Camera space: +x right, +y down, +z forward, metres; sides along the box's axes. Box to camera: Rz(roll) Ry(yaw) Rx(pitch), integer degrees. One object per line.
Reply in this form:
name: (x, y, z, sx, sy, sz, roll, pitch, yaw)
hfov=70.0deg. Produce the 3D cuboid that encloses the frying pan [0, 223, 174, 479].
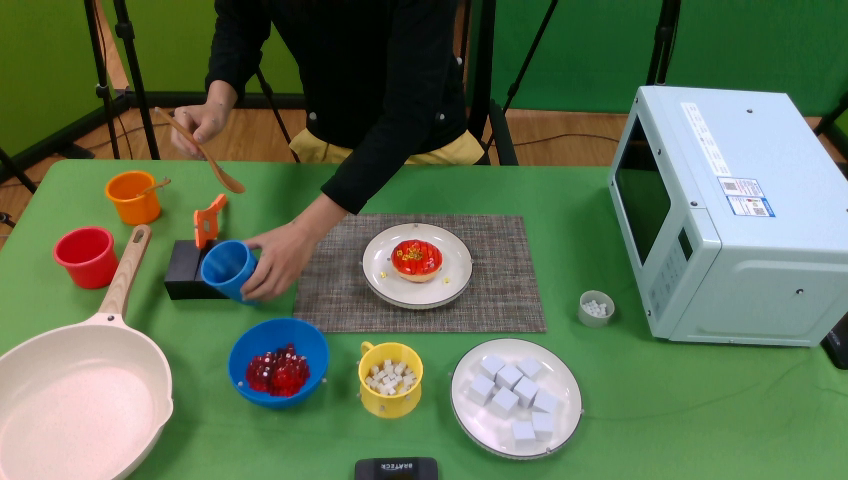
frying pan: (-0.505, 0.169, 0.941, 0.307, 0.103, 0.485, 5, 54, -1)

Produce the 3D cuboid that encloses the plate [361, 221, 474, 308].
plate: (-0.011, 0.049, 1.130, 0.209, 0.038, 0.208, 2, 46, -2)

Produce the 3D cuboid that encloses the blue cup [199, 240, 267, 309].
blue cup: (-0.308, 0.064, 1.002, 0.092, 0.101, 0.092, -7, 50, 9)

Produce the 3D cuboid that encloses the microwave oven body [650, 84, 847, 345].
microwave oven body: (0.569, -0.054, 1.115, 0.326, 0.261, 0.439, 2, 46, -1)

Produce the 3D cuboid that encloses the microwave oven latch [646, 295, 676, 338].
microwave oven latch: (0.413, 0.133, 1.060, 0.030, 0.029, 0.078, 4, 46, 1)

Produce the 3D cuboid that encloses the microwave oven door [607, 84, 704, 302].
microwave oven door: (0.424, -0.096, 1.137, 0.039, 0.245, 0.353, 2, 46, -1)

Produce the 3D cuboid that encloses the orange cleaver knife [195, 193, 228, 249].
orange cleaver knife: (-0.406, -0.041, 1.163, 0.012, 0.077, 0.210, 0, 18, -3)

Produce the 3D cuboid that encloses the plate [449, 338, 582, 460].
plate: (0.141, 0.251, 0.955, 0.208, 0.039, 0.206, 2, 46, -2)

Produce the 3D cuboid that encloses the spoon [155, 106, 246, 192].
spoon: (-0.366, -0.148, 1.003, 0.021, 0.195, 0.041, -30, 34, 9)

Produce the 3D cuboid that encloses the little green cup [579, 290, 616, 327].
little green cup: (0.308, 0.124, 1.086, 0.061, 0.039, 0.061, 1, 45, -1)

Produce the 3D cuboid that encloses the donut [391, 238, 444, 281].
donut: (-0.012, 0.035, 1.128, 0.099, 0.048, 0.098, 3, 43, -2)

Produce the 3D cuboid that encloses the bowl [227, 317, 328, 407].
bowl: (-0.222, 0.203, 0.947, 0.151, 0.077, 0.150, 2, 46, -2)

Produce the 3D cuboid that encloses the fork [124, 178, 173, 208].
fork: (-0.525, -0.089, 1.153, 0.207, 0.019, 0.028, -17, 26, 45)

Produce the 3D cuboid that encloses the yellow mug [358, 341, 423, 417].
yellow mug: (-0.063, 0.210, 0.961, 0.100, 0.064, 0.130, -29, 54, -27)
